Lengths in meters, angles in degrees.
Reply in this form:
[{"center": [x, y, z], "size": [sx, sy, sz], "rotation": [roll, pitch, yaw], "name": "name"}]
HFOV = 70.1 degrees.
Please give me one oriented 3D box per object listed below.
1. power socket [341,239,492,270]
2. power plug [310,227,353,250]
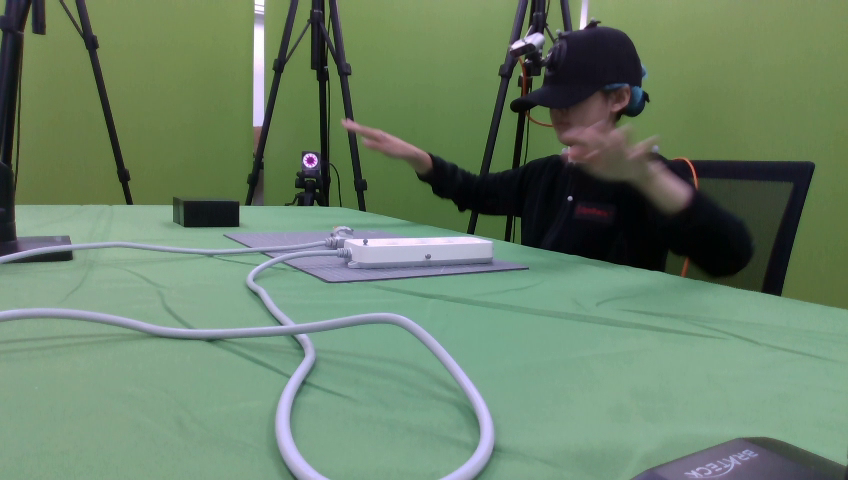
[{"center": [-0.007, 0.018, 0.831], "size": [0.228, 0.032, 0.072], "rotation": [-1, 7, -29], "name": "power socket"}, {"center": [-0.141, -0.008, 0.918], "size": [0.073, 0.035, 0.052], "rotation": [21, 12, -36], "name": "power plug"}]
